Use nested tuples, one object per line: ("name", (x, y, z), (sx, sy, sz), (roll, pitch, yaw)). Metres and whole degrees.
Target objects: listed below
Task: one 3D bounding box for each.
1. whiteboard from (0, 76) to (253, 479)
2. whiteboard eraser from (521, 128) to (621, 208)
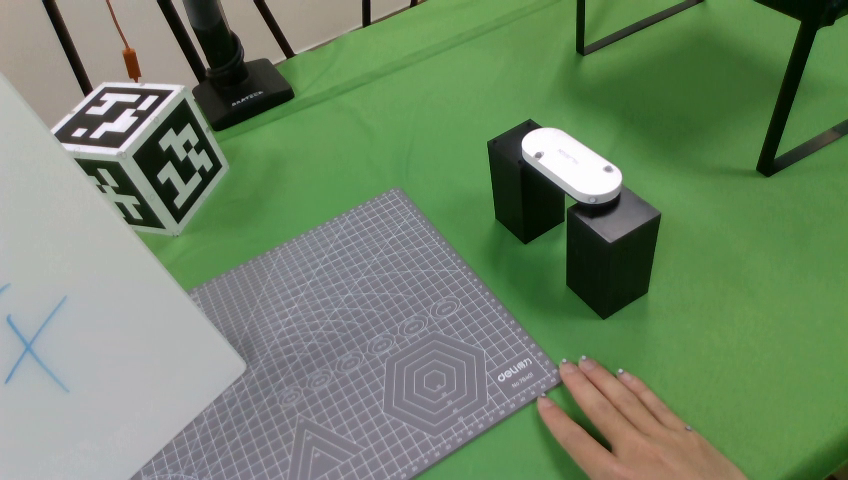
("whiteboard", (-0.328, 0.060, 0.471), (0.142, 0.308, 0.217), (14, 50, 48))
("whiteboard eraser", (0.120, -0.063, 0.503), (0.041, 0.019, 0.100), (-29, 49, -16))
